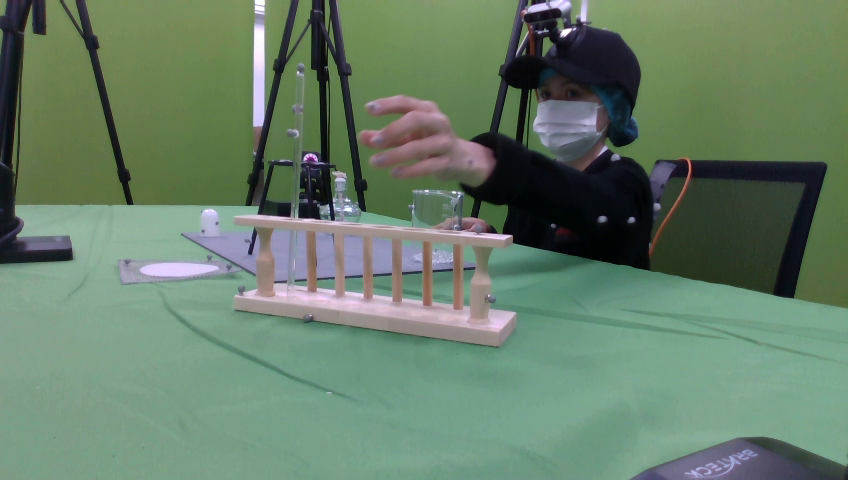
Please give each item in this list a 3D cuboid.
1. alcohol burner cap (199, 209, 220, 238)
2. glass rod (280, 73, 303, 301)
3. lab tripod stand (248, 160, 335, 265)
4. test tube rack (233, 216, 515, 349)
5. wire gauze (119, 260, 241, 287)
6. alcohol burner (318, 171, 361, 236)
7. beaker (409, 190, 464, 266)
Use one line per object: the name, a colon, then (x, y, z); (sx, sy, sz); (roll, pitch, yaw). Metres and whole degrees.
alcohol burner cap: (-0.356, -0.027, 1.002); (0.034, 0.048, 0.034); (2, 7, 0)
glass rod: (-0.114, -0.040, 0.516); (0.008, 0.199, 0.008); (7, 14, -1)
lab tripod stand: (-0.165, -0.041, 0.817); (0.148, 0.131, 0.148); (5, 7, 0)
test tube rack: (-0.045, 0.029, 0.525); (0.241, 0.085, 0.067); (5, 7, 19)
wire gauze: (-0.288, 0.034, 0.706); (0.122, 0.011, 0.124); (-3, 10, -29)
alcohol burner: (-0.155, -0.066, 1.104); (0.078, 0.119, 0.078); (1, 8, 0)
beaker: (0.018, -0.018, 0.840); (0.074, 0.100, 0.083); (-3, 10, -35)
